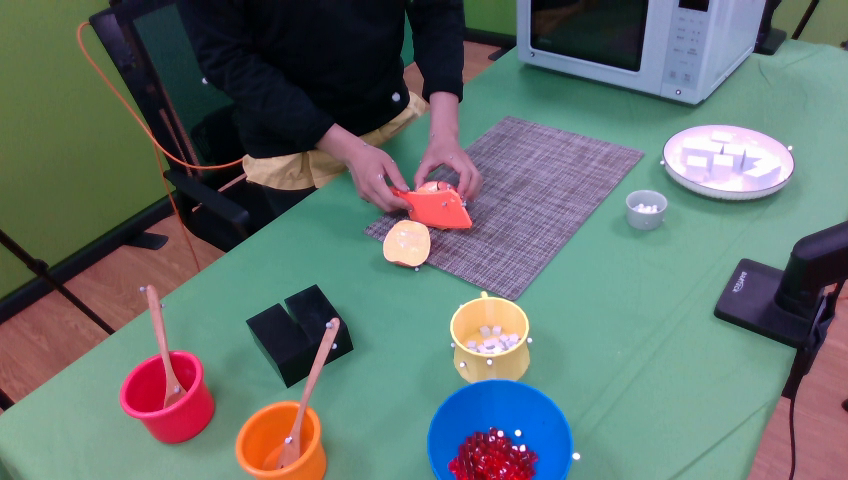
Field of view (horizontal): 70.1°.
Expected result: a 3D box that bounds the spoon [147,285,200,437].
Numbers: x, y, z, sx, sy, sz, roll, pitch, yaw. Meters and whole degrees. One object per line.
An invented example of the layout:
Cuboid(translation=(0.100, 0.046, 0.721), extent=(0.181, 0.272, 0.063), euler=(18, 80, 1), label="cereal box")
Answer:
Cuboid(translation=(-0.318, 0.148, 0.754), extent=(0.042, 0.021, 0.193), euler=(-15, 85, -10), label="spoon")

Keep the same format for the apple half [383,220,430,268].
Cuboid(translation=(-0.022, 0.009, 0.948), extent=(0.081, 0.033, 0.081), euler=(-4, 72, 13), label="apple half")

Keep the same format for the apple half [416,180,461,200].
Cuboid(translation=(0.032, -0.062, 0.998), extent=(0.080, 0.075, 0.053), euler=(22, 44, 39), label="apple half")

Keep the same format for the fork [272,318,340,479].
Cuboid(translation=(-0.131, 0.186, 0.676), extent=(0.028, 0.019, 0.207), euler=(17, 90, 28), label="fork")

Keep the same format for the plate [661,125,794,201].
Cuboid(translation=(0.513, -0.128, 1.035), extent=(0.207, 0.039, 0.206), euler=(-4, 40, 4), label="plate")

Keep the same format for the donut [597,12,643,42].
Cuboid(translation=(0.437, -0.475, 1.347), extent=(0.099, 0.048, 0.098), euler=(-14, 27, 8), label="donut")

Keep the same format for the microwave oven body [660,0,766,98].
Cuboid(translation=(0.472, -0.514, 1.317), extent=(0.438, 0.261, 0.327), euler=(26, 51, 34), label="microwave oven body")

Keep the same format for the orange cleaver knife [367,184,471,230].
Cuboid(translation=(-0.011, -0.056, 0.992), extent=(0.209, 0.077, 0.012), euler=(11, 37, 40), label="orange cleaver knife")

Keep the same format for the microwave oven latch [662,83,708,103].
Cuboid(translation=(0.518, -0.296, 1.204), extent=(0.078, 0.029, 0.030), euler=(27, 52, 35), label="microwave oven latch")

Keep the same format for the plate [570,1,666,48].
Cuboid(translation=(0.437, -0.484, 1.369), extent=(0.209, 0.038, 0.208), euler=(-4, 42, 4), label="plate")

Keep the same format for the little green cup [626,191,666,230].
Cuboid(translation=(0.352, -0.046, 0.963), extent=(0.061, 0.039, 0.061), euler=(-4, 40, 4), label="little green cup")

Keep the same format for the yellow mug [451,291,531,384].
Cuboid(translation=(0.085, 0.120, 0.786), extent=(0.100, 0.064, 0.130), euler=(-7, 39, 1), label="yellow mug")

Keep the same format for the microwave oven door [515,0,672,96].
Cuboid(translation=(0.344, -0.455, 1.260), extent=(0.353, 0.245, 0.039), euler=(26, 51, 33), label="microwave oven door")

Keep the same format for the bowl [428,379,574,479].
Cuboid(translation=(0.082, 0.233, 0.644), extent=(0.151, 0.077, 0.150), euler=(-4, 39, 4), label="bowl")
